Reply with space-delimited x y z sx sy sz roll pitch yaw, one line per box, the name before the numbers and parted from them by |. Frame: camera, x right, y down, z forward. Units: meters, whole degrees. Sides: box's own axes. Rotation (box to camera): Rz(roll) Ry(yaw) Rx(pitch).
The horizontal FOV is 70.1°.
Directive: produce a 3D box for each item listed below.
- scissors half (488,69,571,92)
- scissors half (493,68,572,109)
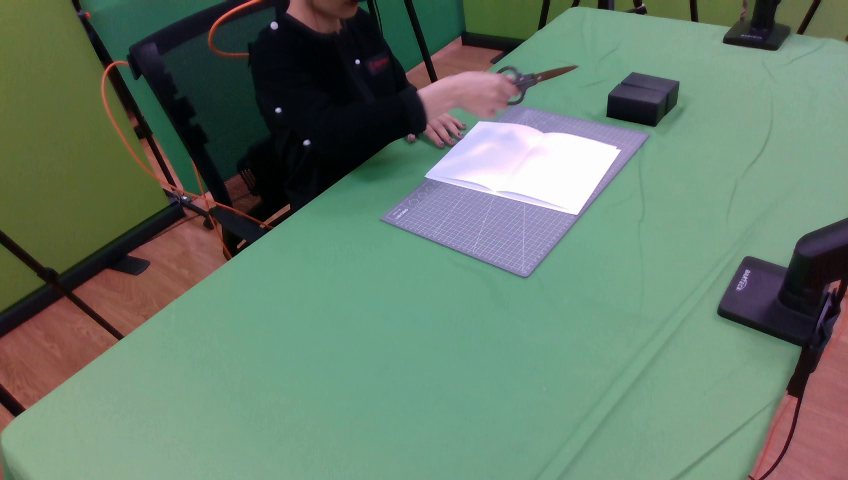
scissors half | 0.193 -0.303 1.120 0.174 0.040 0.013 3 27 38
scissors half | 0.199 -0.284 1.124 0.174 0.040 0.013 -18 8 44
